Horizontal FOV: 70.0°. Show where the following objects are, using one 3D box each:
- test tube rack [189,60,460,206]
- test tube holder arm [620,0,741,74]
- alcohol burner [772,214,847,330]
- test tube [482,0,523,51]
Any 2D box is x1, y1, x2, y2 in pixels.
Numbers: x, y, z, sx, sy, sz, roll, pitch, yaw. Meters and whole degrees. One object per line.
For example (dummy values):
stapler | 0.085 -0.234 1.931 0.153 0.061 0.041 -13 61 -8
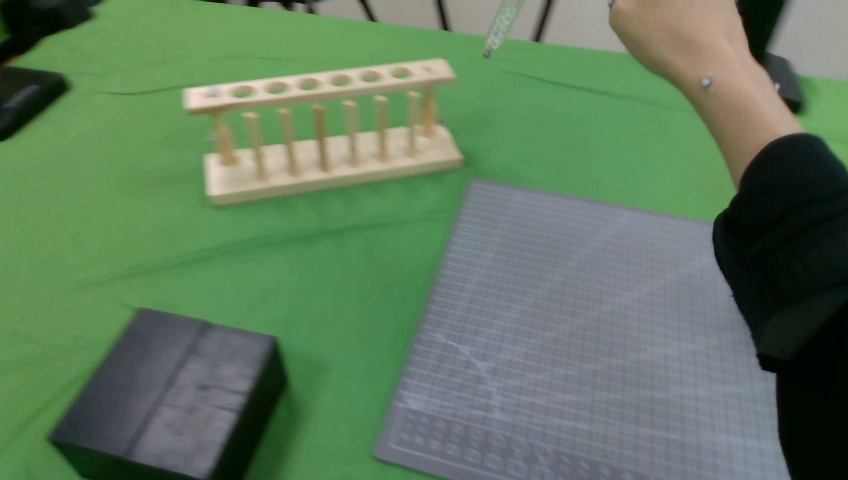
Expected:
test tube rack | -0.088 -0.104 0.578 0.243 0.086 0.066 -11 46 -12
test tube holder arm | 0.134 -0.168 0.406 0.177 0.015 0.013 41 48 14
alcohol burner | 0.311 0.011 0.450 0.078 0.120 0.077 2 43 -1
test tube | 0.076 -0.199 0.430 0.017 0.151 0.017 13 47 -14
